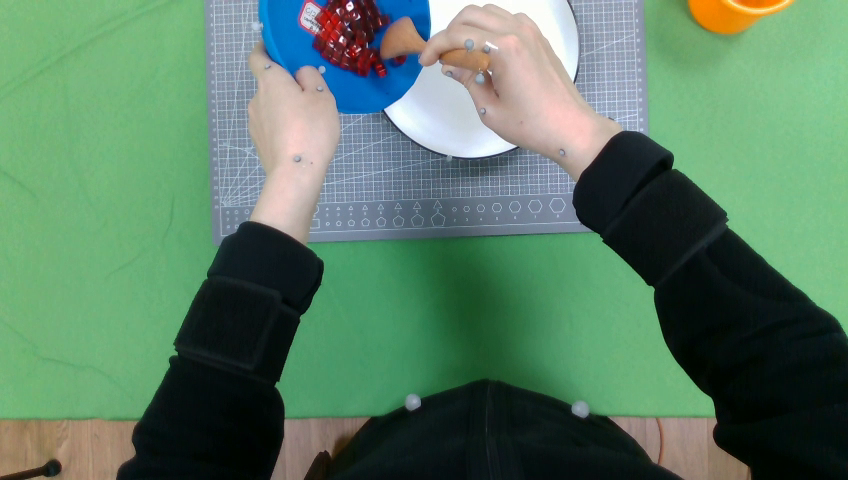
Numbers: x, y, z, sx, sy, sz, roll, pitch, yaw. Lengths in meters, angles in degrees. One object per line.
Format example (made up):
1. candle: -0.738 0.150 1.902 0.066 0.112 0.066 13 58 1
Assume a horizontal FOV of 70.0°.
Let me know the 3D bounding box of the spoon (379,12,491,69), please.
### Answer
1. spoon: 0.005 -0.148 0.458 0.022 0.191 0.041 29 97 -35

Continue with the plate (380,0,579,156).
1. plate: 0.047 -0.186 0.602 0.209 0.038 0.209 0 90 3

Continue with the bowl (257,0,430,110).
1. bowl: -0.078 -0.187 0.511 0.152 0.076 0.152 -10 108 -35
